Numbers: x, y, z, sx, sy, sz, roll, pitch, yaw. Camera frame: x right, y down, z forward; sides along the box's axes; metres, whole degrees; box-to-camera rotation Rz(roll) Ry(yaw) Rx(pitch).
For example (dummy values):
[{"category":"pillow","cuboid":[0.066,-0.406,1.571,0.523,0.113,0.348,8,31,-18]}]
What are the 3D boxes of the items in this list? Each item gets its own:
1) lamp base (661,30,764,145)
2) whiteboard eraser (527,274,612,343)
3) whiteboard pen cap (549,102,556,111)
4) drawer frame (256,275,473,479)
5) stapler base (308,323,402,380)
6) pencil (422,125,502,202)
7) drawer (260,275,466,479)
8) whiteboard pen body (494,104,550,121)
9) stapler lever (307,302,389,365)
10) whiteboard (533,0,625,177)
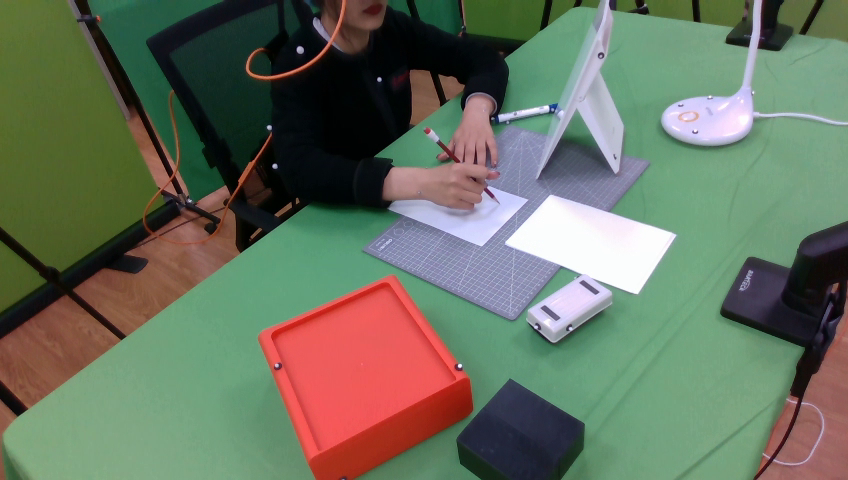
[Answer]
[{"category":"lamp base","cuboid":[0.535,-0.287,1.096,0.179,0.181,0.159,-10,40,-4]},{"category":"whiteboard eraser","cuboid":[0.198,0.094,0.820,0.113,0.042,0.055,-30,43,-22]},{"category":"whiteboard pen cap","cuboid":[0.273,-0.279,1.259,0.033,0.018,0.018,-10,40,-5]},{"category":"drawer frame","cuboid":[-0.078,0.164,0.756,0.202,0.083,0.211,-23,43,-17]},{"category":"stapler base","cuboid":[-0.094,0.142,0.812,0.131,0.024,0.041,-25,29,-17]},{"category":"pencil","cuboid":[0.067,-0.122,0.995,0.012,0.195,0.012,-38,28,24]},{"category":"drawer","cuboid":[-0.080,0.162,0.760,0.195,0.073,0.210,-22,42,-16]},{"category":"whiteboard pen body","cuboid":[0.216,-0.268,1.257,0.141,0.017,0.017,-12,40,-4]},{"category":"stapler lever","cuboid":[-0.101,0.121,0.799,0.118,0.040,0.026,-26,29,-17]},{"category":"whiteboard","cuboid":[0.321,-0.258,1.049,0.144,0.306,0.217,20,45,4]}]
